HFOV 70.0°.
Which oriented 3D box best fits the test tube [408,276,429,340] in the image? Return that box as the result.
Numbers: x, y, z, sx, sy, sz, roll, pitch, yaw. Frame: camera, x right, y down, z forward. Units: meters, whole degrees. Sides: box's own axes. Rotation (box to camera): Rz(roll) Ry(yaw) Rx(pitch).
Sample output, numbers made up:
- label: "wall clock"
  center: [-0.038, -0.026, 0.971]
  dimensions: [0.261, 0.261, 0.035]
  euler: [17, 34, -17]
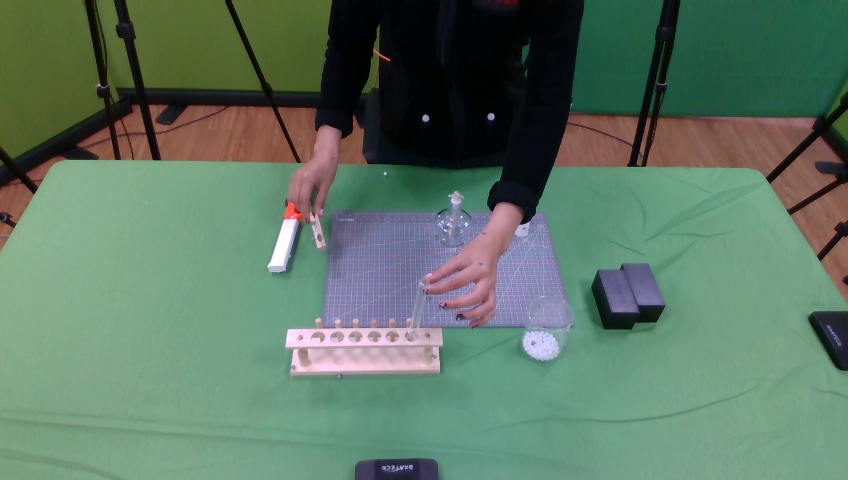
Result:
- label: "test tube"
  center: [-0.009, 0.104, 0.896]
  dimensions: [0.017, 0.151, 0.017]
  euler: [5, 49, -5]

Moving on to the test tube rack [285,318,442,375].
- label: "test tube rack"
  center: [-0.095, 0.168, 0.986]
  dimensions: [0.242, 0.085, 0.066]
  euler: [0, 46, -4]

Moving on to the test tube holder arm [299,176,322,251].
- label: "test tube holder arm"
  center: [-0.217, -0.054, 1.154]
  dimensions: [0.013, 0.015, 0.177]
  euler: [-14, 58, -14]

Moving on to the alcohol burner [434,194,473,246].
- label: "alcohol burner"
  center: [0.059, -0.046, 1.179]
  dimensions: [0.078, 0.120, 0.077]
  euler: [1, 48, -1]

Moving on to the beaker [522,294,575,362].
- label: "beaker"
  center: [0.203, 0.152, 1.013]
  dimensions: [0.084, 0.101, 0.073]
  euler: [-28, 53, -26]

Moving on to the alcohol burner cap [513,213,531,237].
- label: "alcohol burner cap"
  center: [0.200, -0.033, 1.227]
  dimensions: [0.034, 0.048, 0.033]
  euler: [1, 45, -1]

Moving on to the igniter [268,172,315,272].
- label: "igniter"
  center: [-0.263, -0.044, 1.219]
  dimensions: [0.057, 0.025, 0.275]
  euler: [-2, 45, 8]

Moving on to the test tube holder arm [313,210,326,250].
- label: "test tube holder arm"
  center: [-0.197, -0.020, 1.132]
  dimensions: [0.010, 0.015, 0.087]
  euler: [-13, 57, -14]
